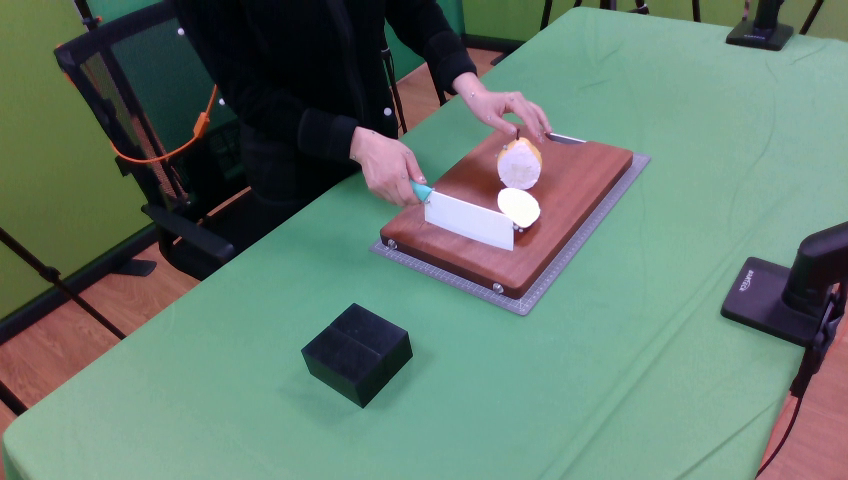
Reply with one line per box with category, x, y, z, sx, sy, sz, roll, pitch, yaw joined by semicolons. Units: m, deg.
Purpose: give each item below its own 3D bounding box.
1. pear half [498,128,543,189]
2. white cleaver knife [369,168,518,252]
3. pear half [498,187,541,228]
pear half;0.162;-0.145;1.014;0.076;0.110;0.056;2;41;8
white cleaver knife;0.020;-0.048;0.926;0.284;0.066;0.021;24;37;33
pear half;0.149;-0.045;0.957;0.070;0.031;0.087;4;51;-8
